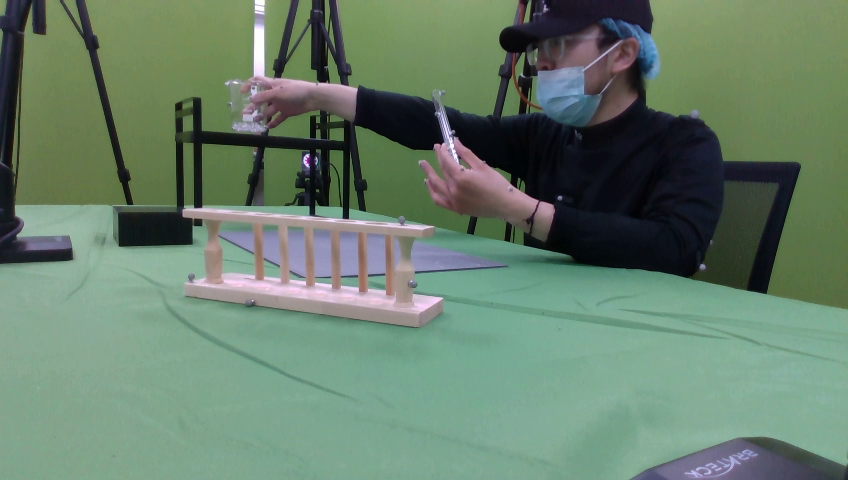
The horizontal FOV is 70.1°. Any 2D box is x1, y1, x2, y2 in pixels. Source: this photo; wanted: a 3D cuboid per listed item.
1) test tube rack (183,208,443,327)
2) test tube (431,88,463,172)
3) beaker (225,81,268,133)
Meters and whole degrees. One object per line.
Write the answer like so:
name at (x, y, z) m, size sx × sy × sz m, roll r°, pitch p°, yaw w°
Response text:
test tube rack at (-0.106, 0.019, 0.570) m, size 0.241 × 0.085 × 0.067 m, roll 5°, pitch 8°, yaw 19°
test tube at (0.036, -0.175, 0.959) m, size 0.017 × 0.150 × 0.017 m, roll -13°, pitch -18°, yaw -4°
beaker at (-0.356, -0.268, 1.223) m, size 0.084 × 0.100 × 0.073 m, roll -4°, pitch 11°, yaw -25°
